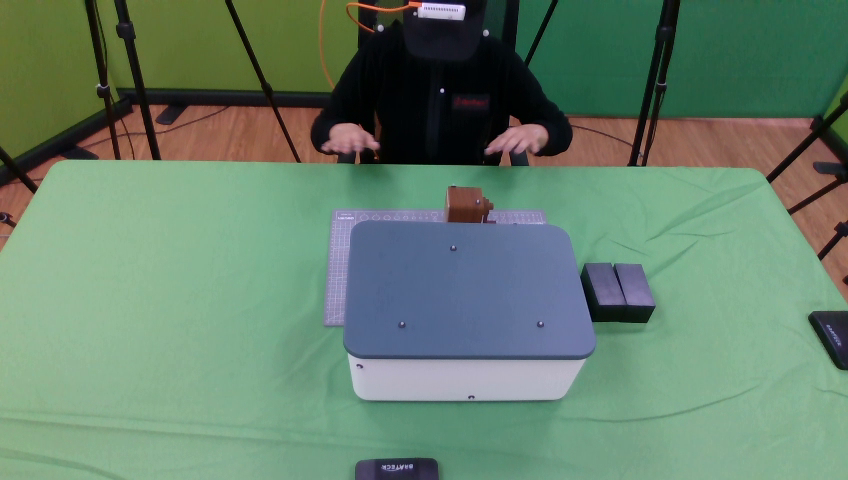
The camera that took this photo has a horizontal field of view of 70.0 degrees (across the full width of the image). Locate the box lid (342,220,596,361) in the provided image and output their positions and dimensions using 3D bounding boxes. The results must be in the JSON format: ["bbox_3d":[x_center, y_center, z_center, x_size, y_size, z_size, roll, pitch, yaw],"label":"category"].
[{"bbox_3d":[0.066,0.070,0.934,0.372,0.015,0.261,1,48,-4],"label":"box lid"}]

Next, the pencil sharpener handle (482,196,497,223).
[{"bbox_3d":[0.130,-0.056,1.182,0.031,0.068,0.036,2,43,-3],"label":"pencil sharpener handle"}]

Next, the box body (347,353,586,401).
[{"bbox_3d":[0.060,0.120,0.988,0.364,0.161,0.252,1,47,-4],"label":"box body"}]

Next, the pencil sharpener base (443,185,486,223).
[{"bbox_3d":[0.078,-0.049,1.188,0.077,0.107,0.061,2,46,-3],"label":"pencil sharpener base"}]
